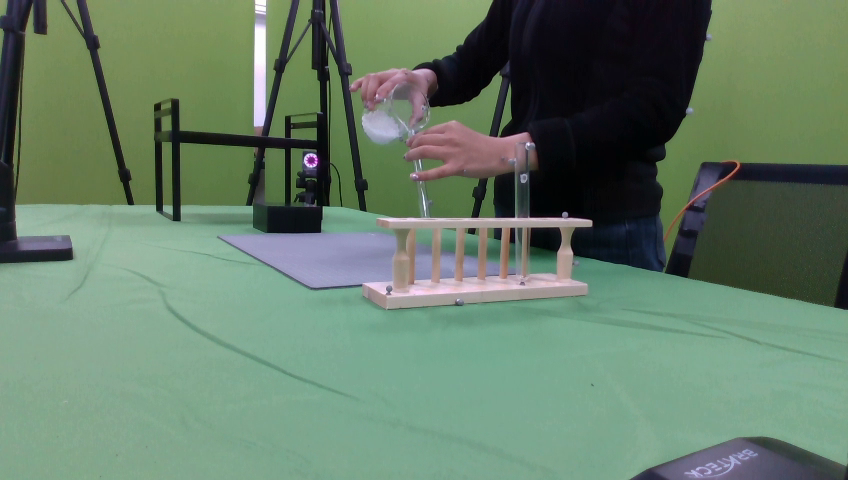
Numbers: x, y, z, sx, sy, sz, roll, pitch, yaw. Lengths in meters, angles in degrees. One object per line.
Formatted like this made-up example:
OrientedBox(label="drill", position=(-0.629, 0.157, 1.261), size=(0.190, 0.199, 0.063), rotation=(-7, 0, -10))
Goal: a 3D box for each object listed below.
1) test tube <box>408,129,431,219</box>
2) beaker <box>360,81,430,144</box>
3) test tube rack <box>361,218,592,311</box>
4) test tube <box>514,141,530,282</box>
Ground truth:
OrientedBox(label="test tube", position=(-0.007, -0.097, 0.895), size=(0.017, 0.150, 0.017), rotation=(-8, -19, -2))
OrientedBox(label="beaker", position=(-0.049, -0.196, 0.961), size=(0.074, 0.084, 0.100), rotation=(-1, -8, -37))
OrientedBox(label="test tube rack", position=(0.059, 0.019, 0.640), size=(0.243, 0.085, 0.066), rotation=(-1, 8, -27))
OrientedBox(label="test tube", position=(0.103, -0.028, 0.636), size=(0.017, 0.150, 0.017), rotation=(-2, 12, 1))
